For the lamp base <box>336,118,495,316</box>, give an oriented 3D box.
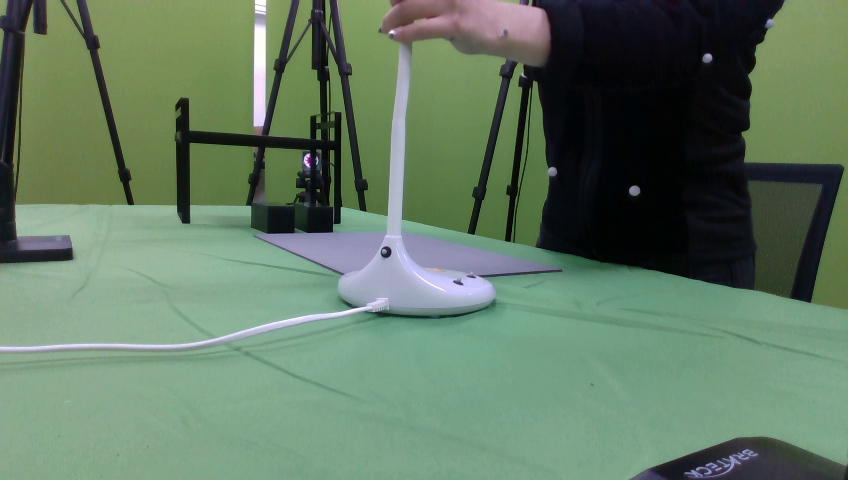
[{"bbox_3d":[-0.009,-0.026,0.589,0.160,0.180,0.179,4,10,14],"label":"lamp base"}]
